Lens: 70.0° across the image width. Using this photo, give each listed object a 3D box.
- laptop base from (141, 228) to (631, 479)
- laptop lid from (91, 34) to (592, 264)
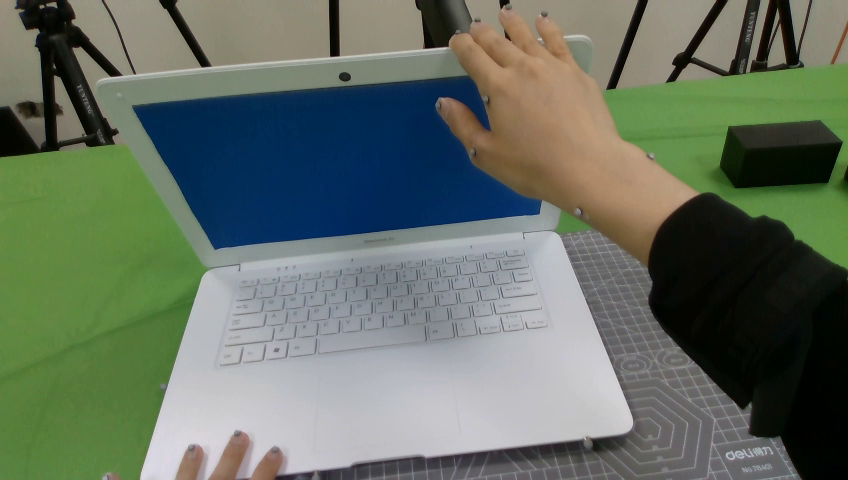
[{"bbox_3d":[-0.034,0.086,0.516,0.354,0.023,0.233,-7,41,-1],"label":"laptop base"},{"bbox_3d":[-0.050,-0.059,0.511,0.357,0.244,0.013,-7,56,1],"label":"laptop lid"}]
